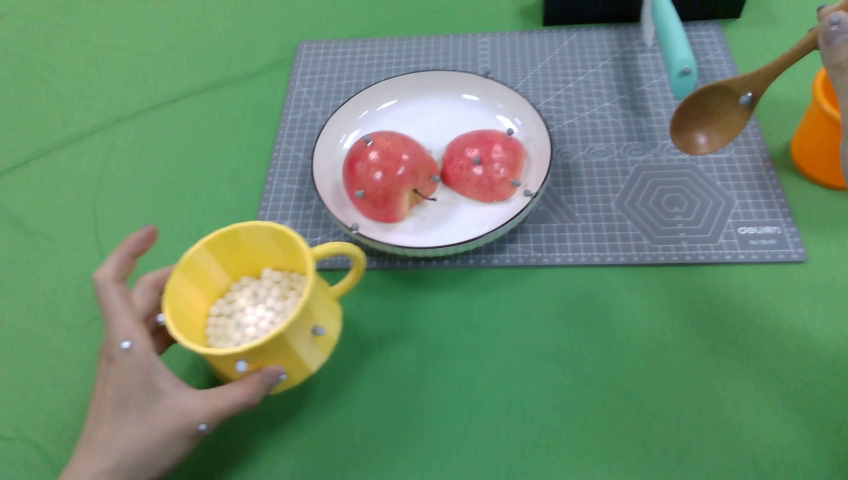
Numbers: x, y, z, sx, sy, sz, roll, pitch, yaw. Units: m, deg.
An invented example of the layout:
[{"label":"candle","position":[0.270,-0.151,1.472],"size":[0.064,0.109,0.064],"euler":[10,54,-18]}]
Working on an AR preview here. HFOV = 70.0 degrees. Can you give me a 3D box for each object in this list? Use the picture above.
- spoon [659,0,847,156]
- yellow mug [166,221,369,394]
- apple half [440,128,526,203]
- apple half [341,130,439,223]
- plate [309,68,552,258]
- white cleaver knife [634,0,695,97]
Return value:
[{"label":"spoon","position":[0.200,-0.103,0.328],"size":[0.021,0.194,0.041],"euler":[-37,84,-28]},{"label":"yellow mug","position":[-0.098,0.039,0.414],"size":[0.131,0.064,0.099],"euler":[-26,56,-10]},{"label":"apple half","position":[0.049,-0.073,0.521],"size":[0.081,0.033,0.080],"euler":[-2,59,4]},{"label":"apple half","position":[-0.032,-0.062,0.511],"size":[0.081,0.054,0.074],"euler":[-38,58,-18]},{"label":"plate","position":[0.005,-0.068,0.531],"size":[0.209,0.038,0.207],"euler":[-2,56,4]},{"label":"white cleaver knife","position":[0.228,-0.235,0.604],"size":[0.021,0.066,0.283],"euler":[-3,52,10]}]
